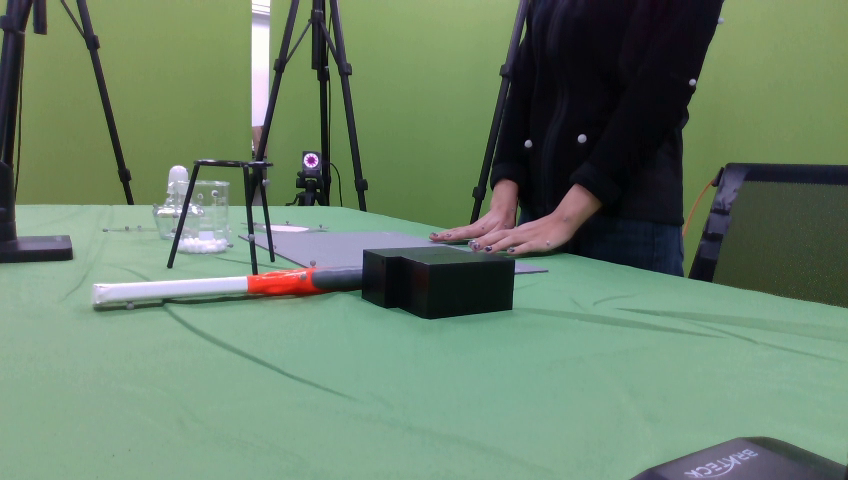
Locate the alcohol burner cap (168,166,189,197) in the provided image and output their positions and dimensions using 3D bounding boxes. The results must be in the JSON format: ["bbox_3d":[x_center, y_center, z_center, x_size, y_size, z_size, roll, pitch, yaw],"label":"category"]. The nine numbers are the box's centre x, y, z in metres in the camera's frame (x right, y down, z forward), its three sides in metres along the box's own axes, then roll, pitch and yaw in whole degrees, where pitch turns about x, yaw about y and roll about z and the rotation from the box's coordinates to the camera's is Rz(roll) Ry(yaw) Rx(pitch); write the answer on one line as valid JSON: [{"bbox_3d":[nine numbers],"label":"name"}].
[{"bbox_3d":[-0.392,-0.095,0.970,0.034,0.048,0.034,8,7,-1],"label":"alcohol burner cap"}]

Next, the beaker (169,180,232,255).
[{"bbox_3d":[-0.313,-0.032,0.850,0.084,0.100,0.073,-5,10,-41],"label":"beaker"}]

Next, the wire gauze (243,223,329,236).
[{"bbox_3d":[-0.266,-0.024,1.156,0.124,0.011,0.122,12,12,40],"label":"wire gauze"}]

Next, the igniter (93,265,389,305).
[{"bbox_3d":[-0.164,0.042,0.589,0.278,0.025,0.057,-2,-7,-31],"label":"igniter"}]

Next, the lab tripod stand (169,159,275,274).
[{"bbox_3d":[-0.230,-0.030,0.724,0.148,0.131,0.148,1,9,0],"label":"lab tripod stand"}]

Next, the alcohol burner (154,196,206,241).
[{"bbox_3d":[-0.393,-0.059,0.974,0.078,0.119,0.078,1,8,0],"label":"alcohol burner"}]

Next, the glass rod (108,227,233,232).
[{"bbox_3d":[-0.437,-0.019,1.054,0.201,0.008,0.008,-1,8,-26],"label":"glass rod"}]
